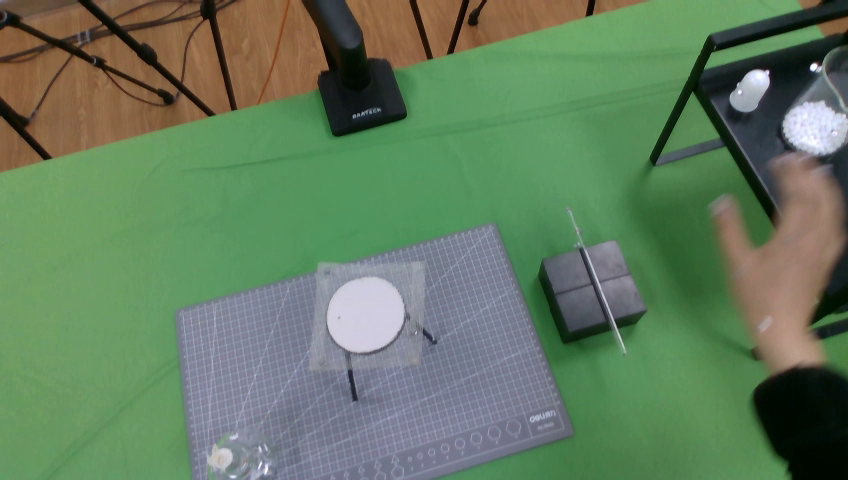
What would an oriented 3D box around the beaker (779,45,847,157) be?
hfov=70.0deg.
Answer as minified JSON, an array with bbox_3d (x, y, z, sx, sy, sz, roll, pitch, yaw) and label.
[{"bbox_3d":[0.429,-0.138,0.636,0.073,0.101,0.083,26,69,14],"label":"beaker"}]

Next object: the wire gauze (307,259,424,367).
[{"bbox_3d":[-0.062,0.076,0.658,0.121,0.011,0.124,0,64,3],"label":"wire gauze"}]

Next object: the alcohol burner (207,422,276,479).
[{"bbox_3d":[-0.208,0.240,0.672,0.078,0.120,0.077,-1,66,2],"label":"alcohol burner"}]

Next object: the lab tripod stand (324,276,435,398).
[{"bbox_3d":[-0.065,0.106,0.719,0.148,0.132,0.147,-2,65,4],"label":"lab tripod stand"}]

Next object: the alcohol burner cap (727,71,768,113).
[{"bbox_3d":[0.368,-0.170,0.684,0.034,0.048,0.033,-1,62,2],"label":"alcohol burner cap"}]

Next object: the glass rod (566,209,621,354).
[{"bbox_3d":[0.210,0.047,0.754,0.008,0.008,0.198,-12,65,-3],"label":"glass rod"}]
